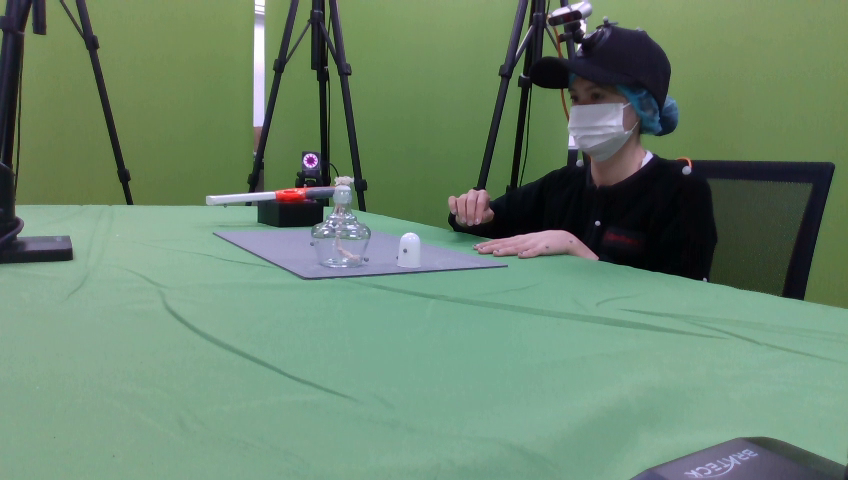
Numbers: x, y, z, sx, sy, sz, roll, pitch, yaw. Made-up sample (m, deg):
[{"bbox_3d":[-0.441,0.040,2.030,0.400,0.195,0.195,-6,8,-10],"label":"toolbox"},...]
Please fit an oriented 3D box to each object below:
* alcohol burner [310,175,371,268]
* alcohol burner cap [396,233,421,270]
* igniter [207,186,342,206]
[{"bbox_3d":[-0.107,-0.024,0.778,0.078,0.119,0.078,3,5,0],"label":"alcohol burner"},{"bbox_3d":[-0.020,0.014,0.795,0.034,0.048,0.034,2,6,0],"label":"alcohol burner cap"},{"bbox_3d":[-0.300,-0.091,1.241,0.278,0.025,0.057,-8,11,-34],"label":"igniter"}]
